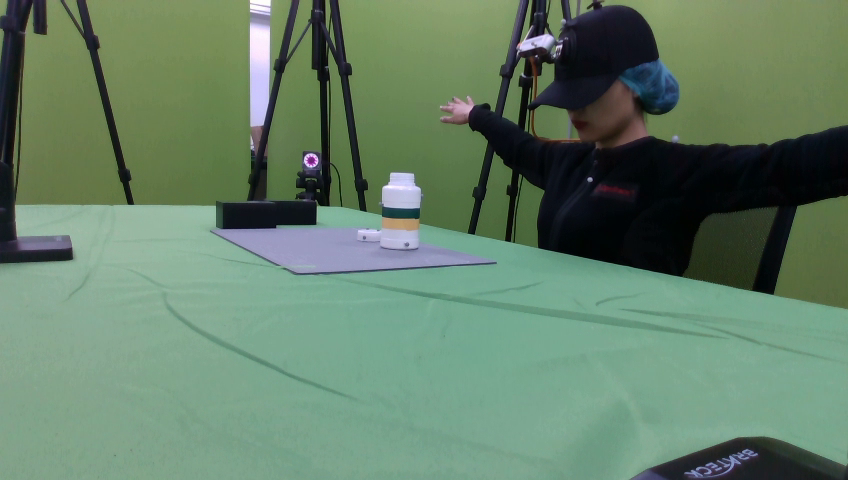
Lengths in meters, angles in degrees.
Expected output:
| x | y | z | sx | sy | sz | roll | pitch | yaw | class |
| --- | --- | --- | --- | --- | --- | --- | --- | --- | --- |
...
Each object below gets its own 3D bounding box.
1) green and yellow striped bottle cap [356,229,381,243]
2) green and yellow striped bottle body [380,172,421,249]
| x | y | z | sx | sy | sz | roll | pitch | yaw | class |
| --- | --- | --- | --- | --- | --- | --- | --- | --- | --- |
| -0.094 | -0.007 | 1.040 | 0.045 | 0.020 | 0.045 | 4 | 6 | 0 | green and yellow striped bottle cap |
| -0.037 | -0.048 | 0.959 | 0.063 | 0.119 | 0.063 | 3 | 7 | 0 | green and yellow striped bottle body |
